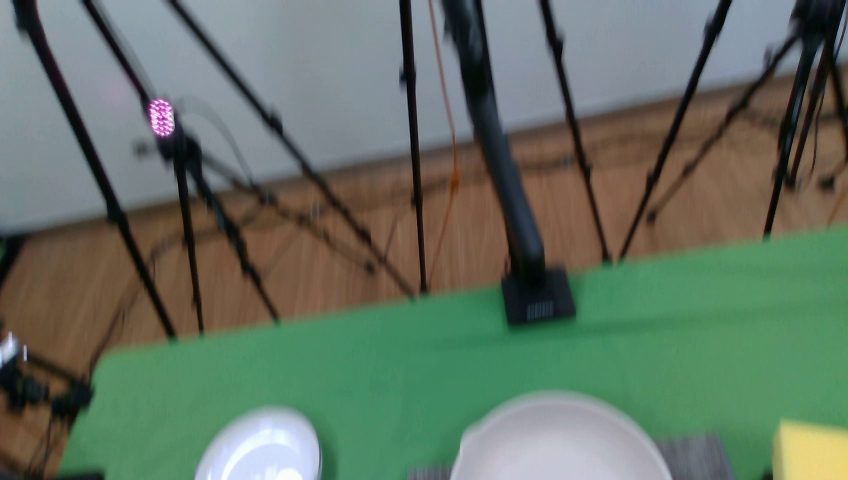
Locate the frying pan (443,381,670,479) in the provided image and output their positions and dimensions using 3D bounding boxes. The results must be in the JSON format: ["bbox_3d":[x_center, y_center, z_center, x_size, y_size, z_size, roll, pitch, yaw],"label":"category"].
[{"bbox_3d":[0.105,0.390,0.753,0.304,0.104,0.487,25,51,34],"label":"frying pan"}]

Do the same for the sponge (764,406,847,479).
[{"bbox_3d":[0.468,0.306,0.695,0.118,0.061,0.205,4,49,19],"label":"sponge"}]

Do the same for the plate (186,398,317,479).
[{"bbox_3d":[-0.264,0.349,0.947,0.207,0.039,0.205,-8,47,8],"label":"plate"}]
